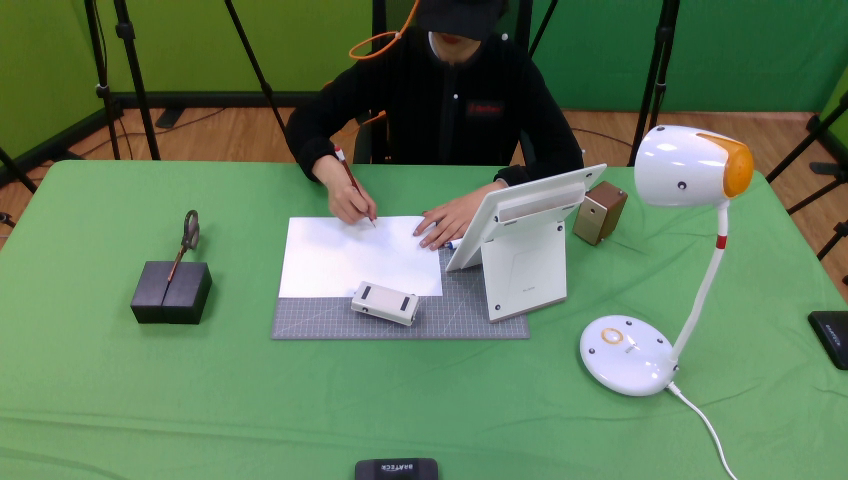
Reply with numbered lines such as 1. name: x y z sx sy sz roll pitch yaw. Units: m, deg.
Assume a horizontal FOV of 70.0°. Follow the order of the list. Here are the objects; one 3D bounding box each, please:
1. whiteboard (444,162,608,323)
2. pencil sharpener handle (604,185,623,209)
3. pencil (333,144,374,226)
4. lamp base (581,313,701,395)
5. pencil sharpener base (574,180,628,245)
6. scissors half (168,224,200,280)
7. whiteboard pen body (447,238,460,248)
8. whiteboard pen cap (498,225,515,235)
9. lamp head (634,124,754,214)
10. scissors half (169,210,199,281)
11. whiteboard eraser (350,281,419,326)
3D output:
1. whiteboard: 0.186 0.025 1.029 0.217 0.306 0.143 -14 68 -18
2. pencil sharpener handle: 0.390 -0.091 1.235 0.030 0.068 0.036 -33 69 -31
3. pencil: -0.134 -0.102 1.170 0.012 0.195 0.012 -15 36 11
4. lamp base: 0.361 0.144 0.973 0.178 0.181 0.160 34 53 23
5. pencil sharpener base: 0.355 -0.056 1.217 0.076 0.107 0.061 -33 56 -31
6. scissors half: -0.440 0.023 1.111 0.013 0.040 0.174 7 29 -6
7. whiteboard pen body: 0.112 -0.005 1.204 0.141 0.017 0.017 -13 49 -18
8. whiteboard pen cap: 0.166 -0.019 1.222 0.033 0.018 0.018 -14 49 -19
9. lamp head: 0.351 -0.089 0.776 0.112 0.113 0.122 -30 30 -28
10. scissors half: -0.438 0.007 1.098 0.013 0.040 0.174 3 47 -3
11. whiteboard eraser: -0.069 0.113 1.065 0.112 0.042 0.055 14 46 9
